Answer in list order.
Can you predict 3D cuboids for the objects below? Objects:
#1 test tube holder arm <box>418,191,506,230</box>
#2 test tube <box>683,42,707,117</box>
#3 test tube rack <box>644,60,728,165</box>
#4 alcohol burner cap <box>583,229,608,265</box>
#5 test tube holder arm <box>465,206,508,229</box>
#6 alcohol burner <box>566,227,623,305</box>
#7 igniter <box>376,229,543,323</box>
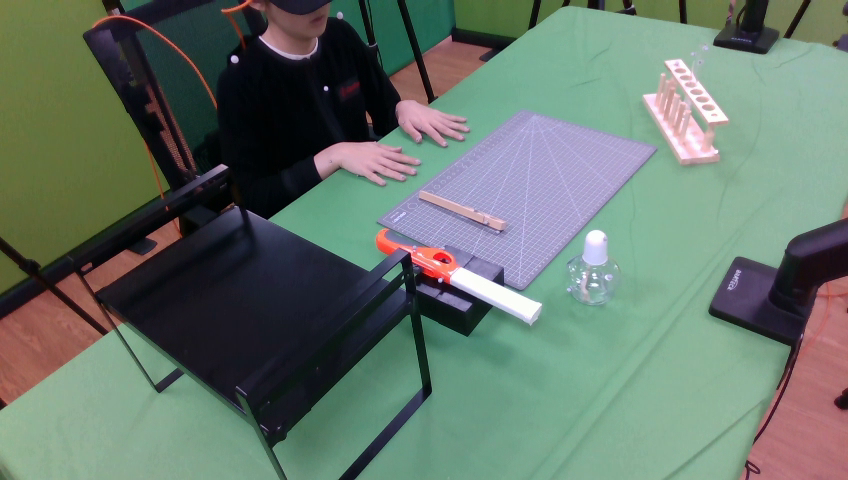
[{"bbox_3d":[0.061,-0.052,1.024,0.177,0.015,0.013,23,14,31],"label":"test tube holder arm"},{"bbox_3d":[0.497,-0.292,1.114,0.017,0.151,0.017,-4,44,4],"label":"test tube"},{"bbox_3d":[0.485,-0.246,1.140,0.067,0.085,0.241,-5,41,4],"label":"test tube rack"},{"bbox_3d":[0.233,0.007,0.814,0.034,0.048,0.033,-4,40,4],"label":"alcohol burner cap"},{"bbox_3d":[0.100,-0.038,1.005,0.087,0.015,0.010,23,14,32],"label":"test tube holder arm"},{"bbox_3d":[0.236,0.031,0.834,0.078,0.119,0.077,-6,39,5],"label":"alcohol burner"},{"bbox_3d":[0.038,0.044,0.843,0.274,0.025,0.057,25,47,29],"label":"igniter"}]
